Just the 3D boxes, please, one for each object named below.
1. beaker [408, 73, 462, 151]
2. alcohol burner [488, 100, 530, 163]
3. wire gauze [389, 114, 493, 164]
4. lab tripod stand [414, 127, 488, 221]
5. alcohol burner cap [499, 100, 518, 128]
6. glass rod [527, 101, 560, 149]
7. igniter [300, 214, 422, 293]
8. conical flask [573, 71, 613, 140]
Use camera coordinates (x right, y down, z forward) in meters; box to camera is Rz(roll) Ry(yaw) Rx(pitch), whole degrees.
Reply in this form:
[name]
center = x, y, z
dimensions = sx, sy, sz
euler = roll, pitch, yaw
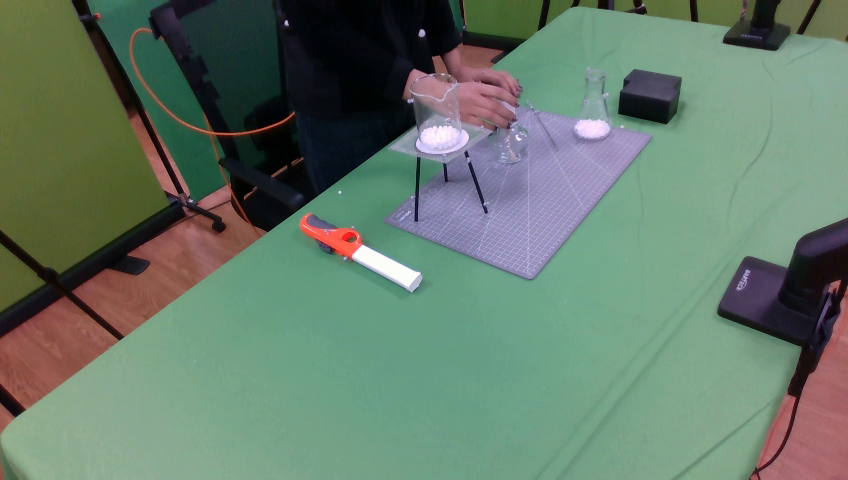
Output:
[beaker]
center = 0.021, -0.196, 0.943
dimensions = 0.074, 0.101, 0.083
euler = -17, 39, -7
[alcohol burner]
center = 0.157, -0.204, 1.119
dimensions = 0.078, 0.119, 0.077
euler = -5, 38, 4
[wire gauze]
center = 0.027, -0.163, 0.978
dimensions = 0.120, 0.011, 0.125
euler = 22, 50, 36
[lab tripod stand]
center = 0.035, -0.114, 1.021
dimensions = 0.148, 0.132, 0.147
euler = -7, 39, 6
[alcohol burner cap]
center = 0.154, -0.230, 1.095
dimensions = 0.034, 0.048, 0.033
euler = -3, 43, 3
[glass rod]
center = 0.240, -0.237, 1.223
dimensions = 0.008, 0.008, 0.198
euler = -12, 40, -2
[igniter]
center = -0.113, 0.016, 0.983
dimensions = 0.274, 0.025, 0.057
euler = 26, 62, 35
[conical flask]
center = 0.321, -0.256, 1.142
dimensions = 0.075, 0.122, 0.075
euler = -5, 40, 5
